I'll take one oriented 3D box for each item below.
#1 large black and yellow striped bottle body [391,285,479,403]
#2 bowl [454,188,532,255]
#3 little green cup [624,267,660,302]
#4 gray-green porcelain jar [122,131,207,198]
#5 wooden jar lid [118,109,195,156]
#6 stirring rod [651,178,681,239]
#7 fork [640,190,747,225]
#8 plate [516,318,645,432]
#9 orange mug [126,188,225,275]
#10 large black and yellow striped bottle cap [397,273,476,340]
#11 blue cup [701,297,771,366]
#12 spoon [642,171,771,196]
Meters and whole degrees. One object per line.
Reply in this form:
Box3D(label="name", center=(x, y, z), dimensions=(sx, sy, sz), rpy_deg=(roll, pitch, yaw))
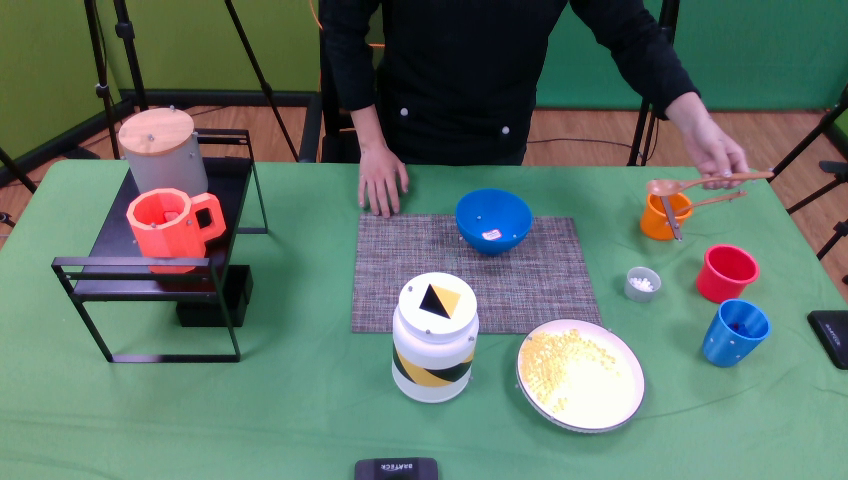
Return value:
Box3D(label="large black and yellow striped bottle body", center=(0.015, 0.153, 0.938), dimensions=(0.131, 0.185, 0.130), rpy_deg=(2, 46, -2))
Box3D(label="bowl", center=(0.131, -0.025, 1.186), dimensions=(0.151, 0.077, 0.150), rpy_deg=(2, 46, -2))
Box3D(label="little green cup", center=(0.405, 0.084, 1.135), dimensions=(0.061, 0.039, 0.061), rpy_deg=(3, 46, -3))
Box3D(label="gray-green porcelain jar", center=(-0.404, -0.115, 0.955), dimensions=(0.106, 0.127, 0.105), rpy_deg=(3, 46, -3))
Box3D(label="wooden jar lid", center=(-0.400, -0.159, 0.910), dimensions=(0.108, 0.021, 0.107), rpy_deg=(2, 47, -2))
Box3D(label="stirring rod", center=(0.479, -0.065, 1.204), dimensions=(0.014, 0.006, 0.175), rpy_deg=(3, 46, -3))
Box3D(label="fork", center=(0.533, -0.064, 1.211), dimensions=(0.207, 0.019, 0.028), rpy_deg=(-22, 27, 38))
Box3D(label="plate", center=(0.253, 0.221, 0.992), dimensions=(0.209, 0.038, 0.208), rpy_deg=(2, 46, -2))
Box3D(label="orange mug", center=(-0.357, -0.020, 0.885), dimensions=(0.126, 0.101, 0.083), rpy_deg=(-29, 54, -23))
Box3D(label="large black and yellow striped bottle cap", center=(0.018, 0.094, 0.878), dimensions=(0.115, 0.019, 0.114), rpy_deg=(3, 46, -3))
Box3D(label="blue cup", center=(0.519, 0.162, 1.025), dimensions=(0.093, 0.101, 0.092), rpy_deg=(3, 45, -3))
Box3D(label="spoon", center=(0.467, -0.099, 1.011), dimensions=(0.193, 0.022, 0.041), rpy_deg=(-7, 43, 28))
